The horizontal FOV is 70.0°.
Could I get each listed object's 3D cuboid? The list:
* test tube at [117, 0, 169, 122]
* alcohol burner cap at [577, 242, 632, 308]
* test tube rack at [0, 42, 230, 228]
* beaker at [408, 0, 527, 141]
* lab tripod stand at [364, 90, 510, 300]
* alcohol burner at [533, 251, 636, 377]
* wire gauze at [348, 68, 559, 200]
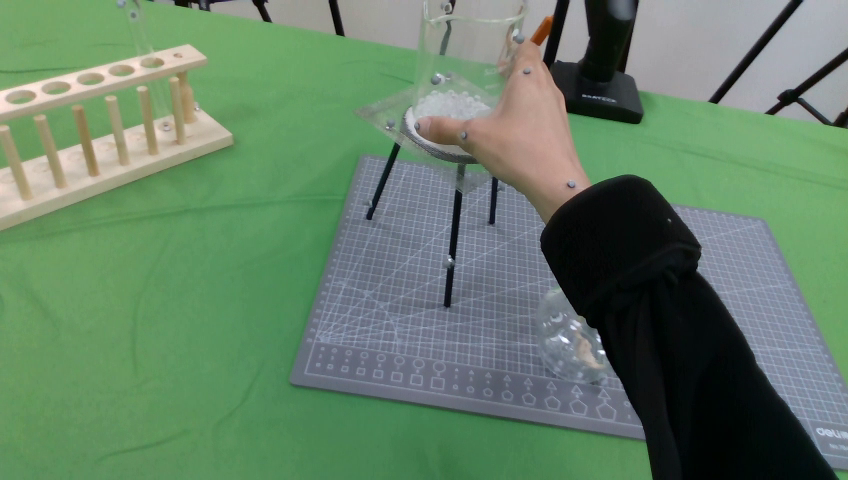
[{"bbox_3d":[-0.264,-0.175,0.568,0.017,0.151,0.017,3,45,-2],"label":"test tube"},{"bbox_3d":[0.129,0.023,0.428,0.034,0.048,0.033,2,49,-2],"label":"alcohol burner cap"},{"bbox_3d":[-0.305,-0.100,0.552,0.066,0.086,0.242,38,49,26],"label":"test tube rack"},{"bbox_3d":[0.025,-0.129,0.439,0.084,0.101,0.073,-32,57,-34],"label":"beaker"},{"bbox_3d":[0.018,-0.045,0.517,0.149,0.132,0.147,7,44,-6],"label":"lab tripod stand"},{"bbox_3d":[0.125,0.048,0.453,0.078,0.120,0.077,7,43,-6],"label":"alcohol burner"},{"bbox_3d":[0.024,-0.093,0.472,0.121,0.011,0.124,-33,61,-33],"label":"wire gauze"}]
